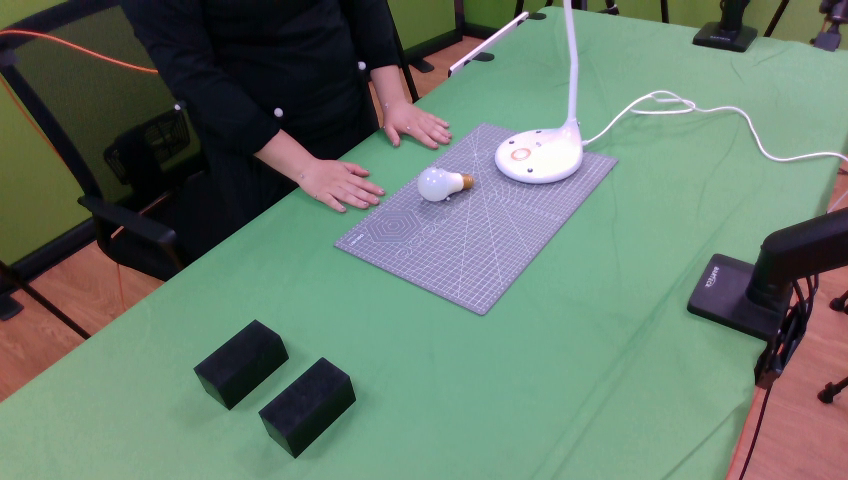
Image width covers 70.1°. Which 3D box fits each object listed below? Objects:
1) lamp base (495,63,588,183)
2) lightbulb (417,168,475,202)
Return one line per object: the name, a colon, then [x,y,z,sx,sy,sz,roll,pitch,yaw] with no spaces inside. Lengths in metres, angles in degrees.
lamp base: [0.215,-0.217,1.067,0.180,0.181,0.159,-19,42,-18]
lightbulb: [0.040,-0.097,1.055,0.108,0.059,0.059,-7,37,-25]
